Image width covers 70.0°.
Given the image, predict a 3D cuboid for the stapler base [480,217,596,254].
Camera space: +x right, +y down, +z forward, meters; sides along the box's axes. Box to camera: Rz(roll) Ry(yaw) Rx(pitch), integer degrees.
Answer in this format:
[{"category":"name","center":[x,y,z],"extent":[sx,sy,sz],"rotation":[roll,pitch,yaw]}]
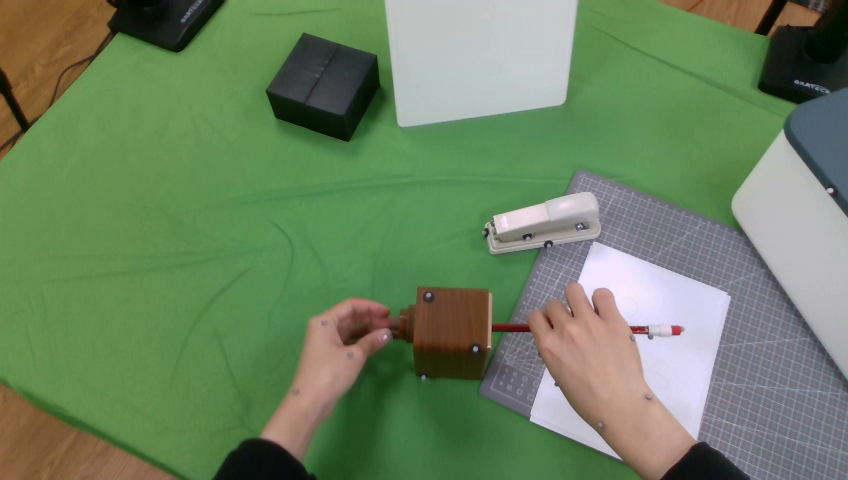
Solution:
[{"category":"stapler base","center":[0.129,-0.016,0.682],"extent":[0.130,0.024,0.041],"rotation":[-10,60,-2]}]

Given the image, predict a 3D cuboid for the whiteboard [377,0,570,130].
[{"category":"whiteboard","center":[0.048,-0.310,0.707],"extent":[0.217,0.308,0.142],"rotation":[-9,45,-4]}]

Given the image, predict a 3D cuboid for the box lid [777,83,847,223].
[{"category":"box lid","center":[0.512,-0.013,0.525],"extent":[0.263,0.015,0.368],"rotation":[-20,66,-11]}]

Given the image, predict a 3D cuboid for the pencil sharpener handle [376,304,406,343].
[{"category":"pencil sharpener handle","center":[-0.032,0.082,0.574],"extent":[0.030,0.068,0.036],"rotation":[3,71,2]}]

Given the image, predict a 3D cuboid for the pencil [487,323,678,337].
[{"category":"pencil","center":[0.131,0.081,0.553],"extent":[0.194,0.012,0.012],"rotation":[0,63,5]}]

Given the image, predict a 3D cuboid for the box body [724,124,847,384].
[{"category":"box body","center":[0.512,0.023,0.590],"extent":[0.254,0.161,0.360],"rotation":[-20,65,-11]}]

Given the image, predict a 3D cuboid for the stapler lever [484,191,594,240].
[{"category":"stapler lever","center":[0.126,-0.027,0.660],"extent":[0.118,0.040,0.026],"rotation":[-10,60,-2]}]

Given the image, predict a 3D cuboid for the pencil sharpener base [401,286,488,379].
[{"category":"pencil sharpener base","center":[0.019,0.091,0.584],"extent":[0.077,0.108,0.061],"rotation":[3,64,2]}]
